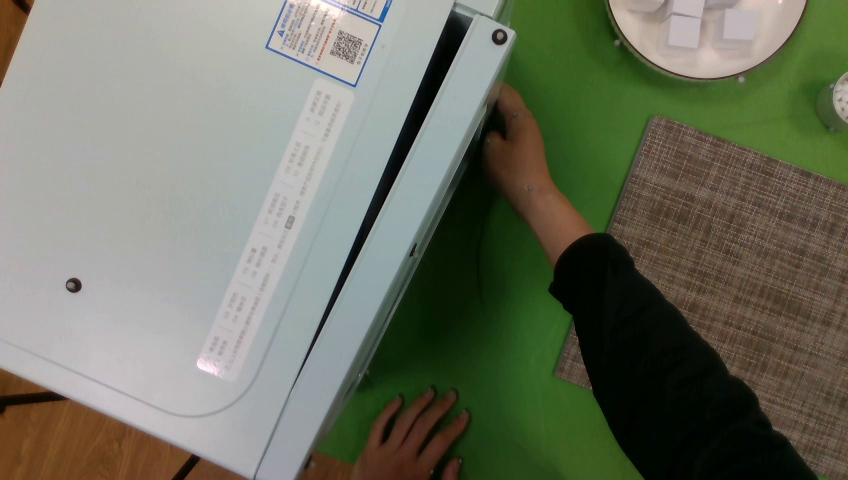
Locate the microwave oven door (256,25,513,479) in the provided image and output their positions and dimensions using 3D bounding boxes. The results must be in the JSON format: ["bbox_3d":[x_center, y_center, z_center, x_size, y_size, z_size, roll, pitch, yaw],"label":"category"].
[{"bbox_3d":[-0.027,0.013,0.528,0.039,0.244,0.355,27,92,2],"label":"microwave oven door"}]

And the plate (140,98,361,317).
[{"bbox_3d":[-0.164,-0.031,0.587,0.209,0.038,0.209,0,93,1],"label":"plate"}]

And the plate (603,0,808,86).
[{"bbox_3d":[0.287,-0.262,0.632,0.207,0.039,0.207,0,91,2],"label":"plate"}]

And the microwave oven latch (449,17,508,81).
[{"bbox_3d":[0.056,-0.196,0.622,0.030,0.029,0.079,33,93,0],"label":"microwave oven latch"}]

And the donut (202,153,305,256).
[{"bbox_3d":[-0.161,-0.033,0.574,0.099,0.048,0.099,0,92,2],"label":"donut"}]

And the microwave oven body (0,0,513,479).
[{"bbox_3d":[-0.152,-0.088,0.535,0.326,0.260,0.441,23,93,1],"label":"microwave oven body"}]

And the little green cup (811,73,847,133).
[{"bbox_3d":[0.439,-0.141,0.630,0.061,0.038,0.061,0,90,2],"label":"little green cup"}]
